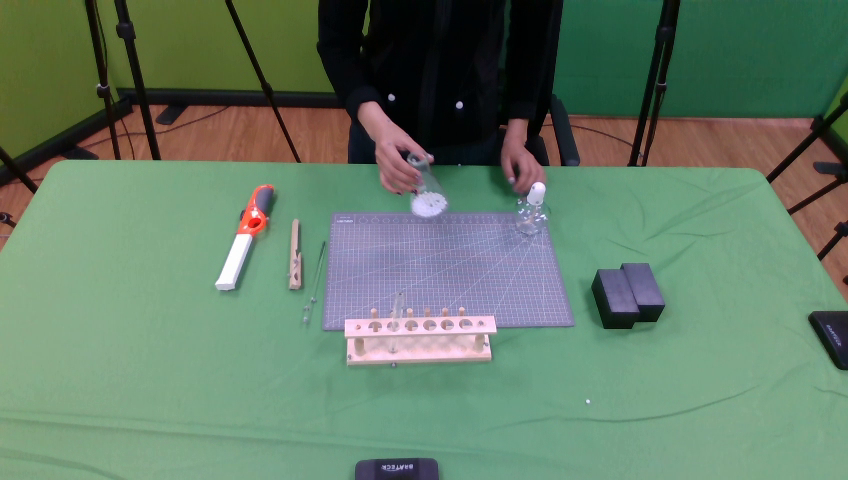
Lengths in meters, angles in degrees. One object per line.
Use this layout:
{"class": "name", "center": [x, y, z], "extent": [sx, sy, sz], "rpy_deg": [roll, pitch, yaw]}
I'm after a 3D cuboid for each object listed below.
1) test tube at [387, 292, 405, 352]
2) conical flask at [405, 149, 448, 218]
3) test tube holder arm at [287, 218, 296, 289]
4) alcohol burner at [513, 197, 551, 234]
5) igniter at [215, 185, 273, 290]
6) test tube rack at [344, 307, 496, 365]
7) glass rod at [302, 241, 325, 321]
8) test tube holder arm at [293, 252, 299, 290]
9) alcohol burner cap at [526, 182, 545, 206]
{"class": "test tube", "center": [-0.045, 0.133, 0.956], "extent": [0.017, 0.151, 0.017], "rpy_deg": [5, 47, -5]}
{"class": "conical flask", "center": [-0.003, -0.105, 1.089], "extent": [0.075, 0.122, 0.075], "rpy_deg": [-8, 44, 8]}
{"class": "test tube holder arm", "center": [-0.254, 0.022, 1.158], "extent": [0.013, 0.015, 0.177], "rpy_deg": [23, 36, -34]}
{"class": "alcohol burner", "center": [0.220, -0.069, 1.217], "extent": [0.078, 0.119, 0.077], "rpy_deg": [3, 47, -3]}
{"class": "igniter", "center": [-0.347, -0.014, 1.182], "extent": [0.057, 0.025, 0.275], "rpy_deg": [-1, 45, 8]}
{"class": "test tube rack", "center": [-0.009, 0.154, 1.007], "extent": [0.242, 0.085, 0.066], "rpy_deg": [-1, 46, -5]}
{"class": "glass rod", "center": [-0.204, 0.071, 1.124], "extent": [0.008, 0.008, 0.198], "rpy_deg": [4, 44, 0]}
{"class": "test tube holder arm", "center": [-0.241, 0.056, 1.131], "extent": [0.010, 0.015, 0.087], "rpy_deg": [25, 35, -33]}
{"class": "alcohol burner cap", "center": [0.222, -0.092, 1.189], "extent": [0.034, 0.048, 0.033], "rpy_deg": [2, 54, -3]}
